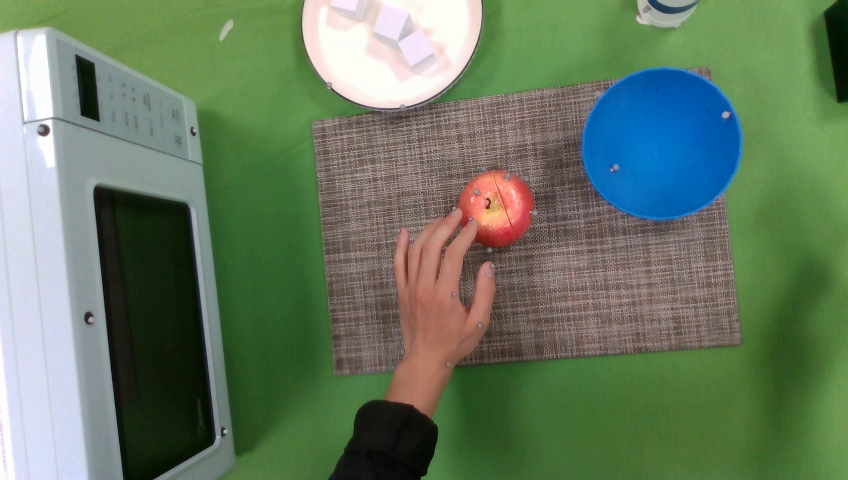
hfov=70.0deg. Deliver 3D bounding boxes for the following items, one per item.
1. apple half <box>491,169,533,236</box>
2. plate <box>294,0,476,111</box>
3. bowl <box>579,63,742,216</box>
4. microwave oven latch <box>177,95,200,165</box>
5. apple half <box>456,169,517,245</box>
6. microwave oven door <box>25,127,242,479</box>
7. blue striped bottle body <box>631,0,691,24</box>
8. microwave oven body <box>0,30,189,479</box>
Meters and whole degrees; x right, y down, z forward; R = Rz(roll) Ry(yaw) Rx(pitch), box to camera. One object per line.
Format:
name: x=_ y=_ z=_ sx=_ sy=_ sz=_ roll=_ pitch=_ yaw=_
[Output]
apple half: x=0.098 y=-0.044 z=0.645 sx=0.033 sy=0.081 sz=0.081 roll=-22 pitch=85 yaw=10
plate: x=-0.043 y=-0.248 z=0.693 sx=0.207 sy=0.039 sz=0.207 roll=0 pitch=89 yaw=8
bowl: x=0.233 y=-0.096 z=0.624 sx=0.151 sy=0.077 sz=0.151 roll=0 pitch=89 yaw=9
microwave oven latch: x=-0.283 y=-0.126 z=0.707 sx=0.030 sy=0.029 sz=0.079 roll=-8 pitch=88 yaw=8
apple half: x=0.063 y=-0.030 z=0.651 sx=0.053 sy=0.075 sz=0.080 roll=-22 pitch=88 yaw=11
microwave oven door: x=-0.271 y=0.087 z=0.598 sx=0.039 sy=0.244 sz=0.355 roll=-9 pitch=87 yaw=8
blue striped bottle body: x=0.250 y=-0.269 z=0.607 sx=0.063 sy=0.121 sz=0.063 roll=0 pitch=88 yaw=9
microwave oven body: x=-0.419 y=0.067 z=0.625 sx=0.326 sy=0.260 sz=0.441 roll=-8 pitch=88 yaw=8
